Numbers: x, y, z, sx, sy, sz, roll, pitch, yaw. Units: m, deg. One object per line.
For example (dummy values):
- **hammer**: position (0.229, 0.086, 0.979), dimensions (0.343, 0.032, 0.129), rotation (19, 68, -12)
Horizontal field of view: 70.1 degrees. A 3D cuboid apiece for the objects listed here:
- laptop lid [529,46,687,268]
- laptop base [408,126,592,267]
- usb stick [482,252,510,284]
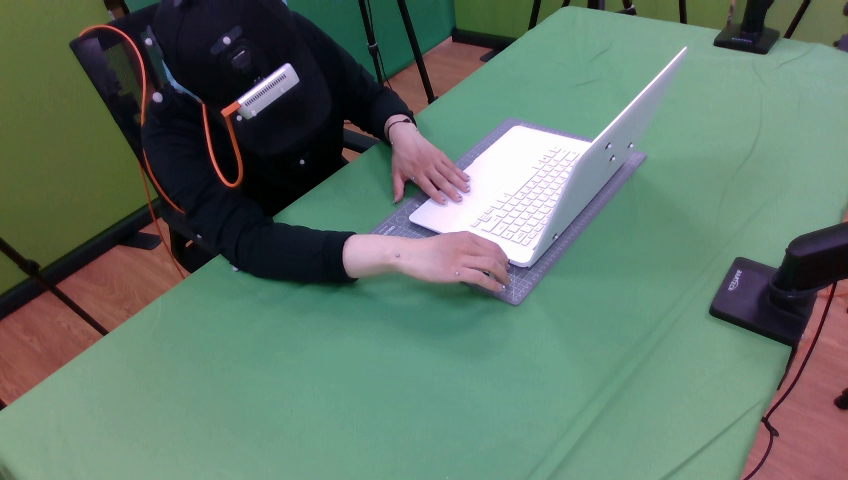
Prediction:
- **laptop lid**: position (0.277, -0.126, 0.903), dimensions (0.013, 0.242, 0.358), rotation (35, 52, 17)
- **laptop base**: position (0.168, -0.091, 1.053), dimensions (0.233, 0.023, 0.355), rotation (20, 47, 33)
- **usb stick**: position (0.109, 0.037, 0.891), dimensions (0.021, 0.027, 0.059), rotation (23, 44, 29)
